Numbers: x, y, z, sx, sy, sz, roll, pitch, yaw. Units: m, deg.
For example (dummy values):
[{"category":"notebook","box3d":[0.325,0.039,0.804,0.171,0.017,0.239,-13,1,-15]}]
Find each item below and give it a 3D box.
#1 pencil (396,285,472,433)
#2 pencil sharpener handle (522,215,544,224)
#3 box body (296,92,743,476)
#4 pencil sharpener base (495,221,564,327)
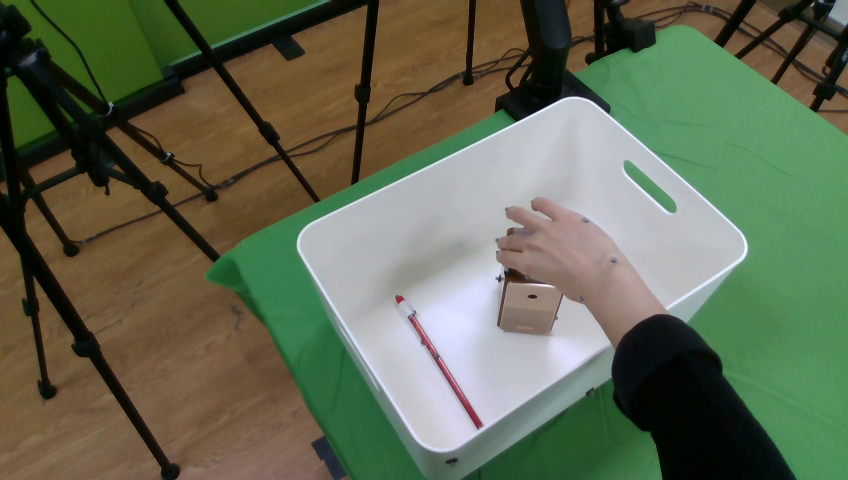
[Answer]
[{"category":"pencil","box3d":[0.011,0.129,0.654,0.012,0.012,0.192,-21,61,-13]},{"category":"pencil sharpener handle","box3d":[0.120,-0.012,0.675,0.036,0.068,0.030,3,56,8]},{"category":"box body","box3d":[0.090,0.039,0.631,0.364,0.162,0.251,-29,60,-17]},{"category":"pencil sharpener base","box3d":[0.113,0.037,0.657,0.061,0.108,0.076,5,56,4]}]
